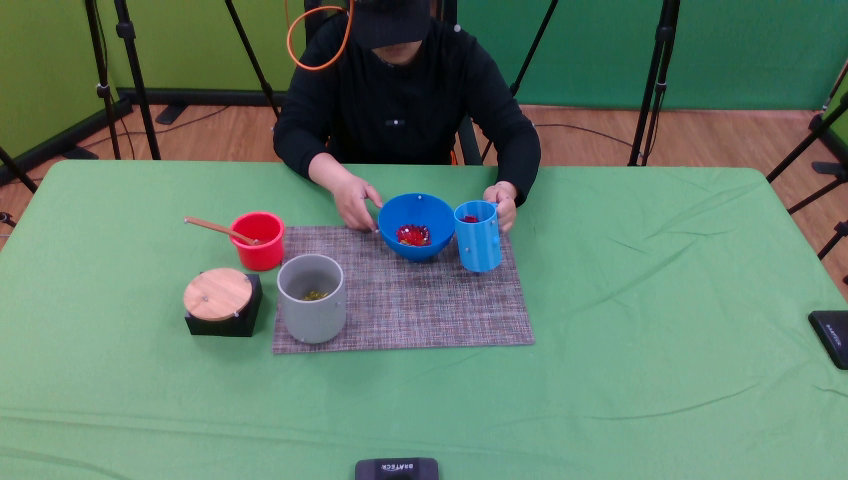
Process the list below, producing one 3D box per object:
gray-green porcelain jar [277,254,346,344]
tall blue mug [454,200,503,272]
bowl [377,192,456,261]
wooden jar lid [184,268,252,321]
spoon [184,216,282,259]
[{"bbox_3d":[-0.184,0.102,1.008,0.106,0.127,0.105,2,46,-2],"label":"gray-green porcelain jar"},{"bbox_3d":[0.102,-0.016,1.107,0.077,0.108,0.106,-2,36,14],"label":"tall blue mug"},{"bbox_3d":[-0.015,-0.013,1.166,0.151,0.077,0.150,2,46,-2],"label":"bowl"},{"bbox_3d":[-0.343,0.092,1.015,0.108,0.021,0.107,3,46,-3],"label":"wooden jar lid"},{"bbox_3d":[-0.341,-0.008,1.096,0.021,0.195,0.041,-35,47,26],"label":"spoon"}]
